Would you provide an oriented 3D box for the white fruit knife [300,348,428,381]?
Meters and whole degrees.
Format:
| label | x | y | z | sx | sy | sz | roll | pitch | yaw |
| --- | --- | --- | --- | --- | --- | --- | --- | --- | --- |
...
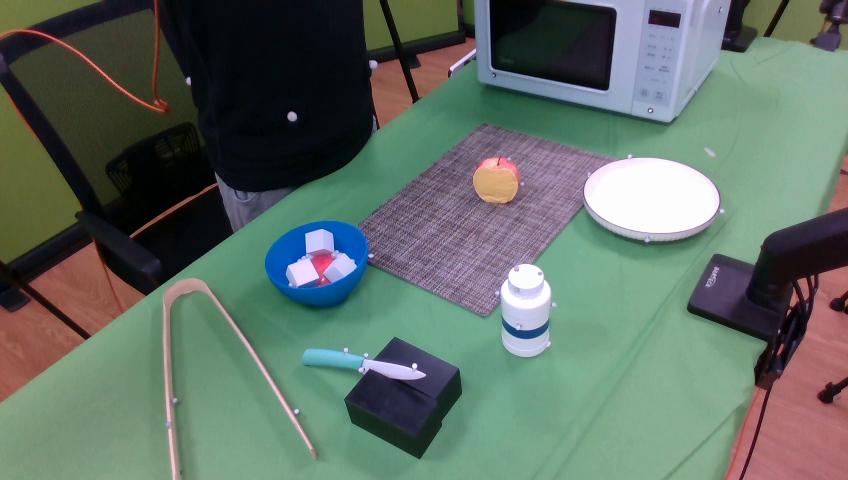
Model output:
| label | x | y | z | sx | sy | sz | roll | pitch | yaw |
| --- | --- | --- | --- | --- | --- | --- | --- | --- | --- |
| white fruit knife | -0.079 | 0.154 | 0.748 | 0.206 | 0.027 | 0.016 | 1 | 20 | 34 |

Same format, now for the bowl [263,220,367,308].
| label | x | y | z | sx | sy | sz | roll | pitch | yaw |
| --- | --- | --- | --- | --- | --- | --- | --- | --- | --- |
| bowl | -0.152 | 0.047 | 0.892 | 0.151 | 0.077 | 0.150 | -4 | 40 | 4 |

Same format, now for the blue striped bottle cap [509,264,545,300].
| label | x | y | z | sx | sy | sz | roll | pitch | yaw |
| --- | --- | --- | --- | --- | --- | --- | --- | --- | --- |
| blue striped bottle cap | 0.125 | 0.051 | 0.735 | 0.044 | 0.021 | 0.044 | -5 | 39 | 5 |

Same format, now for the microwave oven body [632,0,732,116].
| label | x | y | z | sx | sy | sz | roll | pitch | yaw |
| --- | --- | --- | --- | --- | --- | --- | --- | --- | --- |
| microwave oven body | 0.377 | -0.463 | 1.267 | 0.438 | 0.261 | 0.327 | 21 | 48 | 30 |

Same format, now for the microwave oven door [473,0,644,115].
| label | x | y | z | sx | sy | sz | roll | pitch | yaw |
| --- | --- | --- | --- | --- | --- | --- | --- | --- | --- |
| microwave oven door | 0.257 | -0.396 | 1.199 | 0.353 | 0.245 | 0.039 | 21 | 48 | 29 |

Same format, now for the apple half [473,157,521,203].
| label | x | y | z | sx | sy | sz | roll | pitch | yaw |
| --- | --- | --- | --- | --- | --- | --- | --- | --- | --- |
| apple half | 0.128 | -0.107 | 1.030 | 0.080 | 0.075 | 0.053 | 4 | 38 | 19 |

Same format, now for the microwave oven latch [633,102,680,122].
| label | x | y | z | sx | sy | sz | roll | pitch | yaw |
| --- | --- | --- | --- | --- | --- | --- | --- | --- | --- |
| microwave oven latch | 0.444 | -0.250 | 1.157 | 0.078 | 0.029 | 0.030 | 21 | 49 | 30 |

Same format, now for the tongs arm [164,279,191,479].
| label | x | y | z | sx | sy | sz | roll | pitch | yaw |
| --- | --- | --- | --- | --- | --- | --- | --- | --- | --- |
| tongs arm | -0.313 | 0.181 | 0.789 | 0.051 | 0.026 | 0.381 | -19 | 41 | -14 |

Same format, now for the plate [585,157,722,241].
| label | x | y | z | sx | sy | sz | roll | pitch | yaw |
| --- | --- | --- | --- | --- | --- | --- | --- | --- | --- |
| plate | 0.367 | -0.063 | 0.979 | 0.207 | 0.039 | 0.206 | -4 | 40 | 4 |

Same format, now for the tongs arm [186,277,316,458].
| label | x | y | z | sx | sy | sz | roll | pitch | yaw |
| --- | --- | --- | --- | --- | --- | --- | --- | --- | --- |
| tongs arm | -0.241 | 0.153 | 0.815 | 0.028 | 0.028 | 0.384 | -32 | 45 | -21 |

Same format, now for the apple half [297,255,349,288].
| label | x | y | z | sx | sy | sz | roll | pitch | yaw |
| --- | --- | --- | --- | --- | --- | --- | --- | --- | --- |
| apple half | -0.154 | 0.043 | 0.889 | 0.081 | 0.033 | 0.081 | -3 | 40 | 3 |

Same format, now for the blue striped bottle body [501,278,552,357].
| label | x | y | z | sx | sy | sz | roll | pitch | yaw |
| --- | --- | --- | --- | --- | --- | --- | --- | --- | --- |
| blue striped bottle body | 0.129 | 0.089 | 0.769 | 0.063 | 0.121 | 0.063 | -4 | 40 | 4 |
